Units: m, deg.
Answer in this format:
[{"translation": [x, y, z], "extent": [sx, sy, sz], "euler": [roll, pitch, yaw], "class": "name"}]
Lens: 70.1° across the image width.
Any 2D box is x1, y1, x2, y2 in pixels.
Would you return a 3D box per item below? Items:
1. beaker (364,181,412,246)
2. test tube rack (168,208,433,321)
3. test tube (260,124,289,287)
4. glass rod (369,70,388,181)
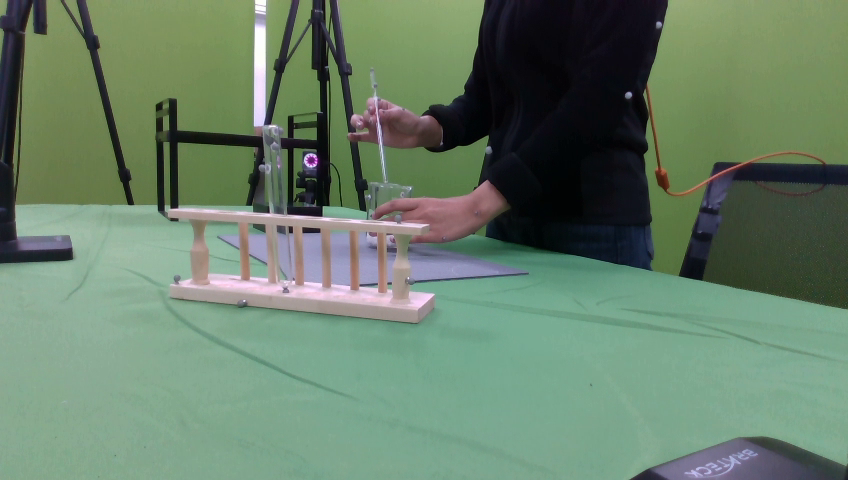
[{"translation": [-0.056, -0.041, 0.957], "extent": [0.083, 0.100, 0.074], "euler": [7, 5, 43], "class": "beaker"}, {"translation": [-0.116, 0.017, 0.574], "extent": [0.242, 0.085, 0.067], "euler": [4, 8, 13], "class": "test tube rack"}, {"translation": [-0.138, -0.031, 0.556], "extent": [0.017, 0.150, 0.017], "euler": [-3, 6, 1], "class": "test tube"}, {"translation": [-0.074, -0.188, 0.979], "extent": [0.008, 0.199, 0.008], "euler": [-9, -15, -2], "class": "glass rod"}]
